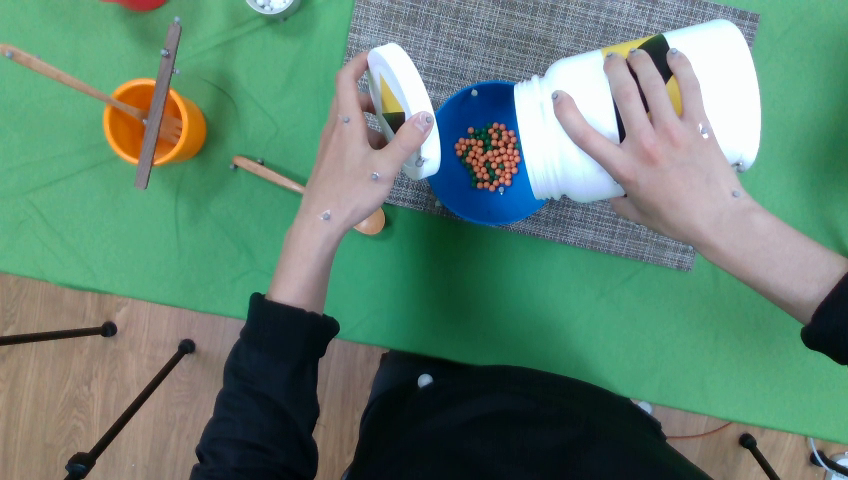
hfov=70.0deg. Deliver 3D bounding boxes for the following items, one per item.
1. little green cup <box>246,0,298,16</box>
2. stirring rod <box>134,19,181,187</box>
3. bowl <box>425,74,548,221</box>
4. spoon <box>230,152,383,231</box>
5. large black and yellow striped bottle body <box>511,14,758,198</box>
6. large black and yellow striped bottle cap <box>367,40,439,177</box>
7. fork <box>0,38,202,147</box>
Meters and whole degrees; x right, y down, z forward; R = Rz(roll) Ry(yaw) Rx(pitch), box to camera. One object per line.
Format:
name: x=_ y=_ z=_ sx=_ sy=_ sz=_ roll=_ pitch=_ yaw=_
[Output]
little green cup: x=-0.168 y=-0.279 z=0.670 sx=0.061 sy=0.038 sz=0.061 roll=0 pitch=97 yaw=2
stirring rod: x=-0.278 y=-0.141 z=0.630 sx=0.014 sy=0.006 sz=0.176 roll=15 pitch=97 yaw=-3
bowl: x=0.072 y=-0.098 z=0.666 sx=0.151 sy=0.076 sz=0.151 roll=0 pitch=97 yaw=1
spoon: x=-0.137 y=-0.062 z=0.704 sx=0.194 sy=0.021 sz=0.042 roll=23 pitch=110 yaw=-3
large black and yellow striped bottle body: x=0.178 y=-0.110 z=0.534 sx=0.183 sy=0.131 sz=0.131 roll=-11 pitch=96 yaw=15
large black and yellow striped bottle cap: x=-0.019 y=-0.110 z=0.517 sx=0.019 sy=0.114 sz=0.115 roll=-22 pitch=96 yaw=-15
fork: x=-0.329 y=-0.150 z=0.632 sx=0.209 sy=0.018 sz=0.028 roll=26 pitch=101 yaw=-46
